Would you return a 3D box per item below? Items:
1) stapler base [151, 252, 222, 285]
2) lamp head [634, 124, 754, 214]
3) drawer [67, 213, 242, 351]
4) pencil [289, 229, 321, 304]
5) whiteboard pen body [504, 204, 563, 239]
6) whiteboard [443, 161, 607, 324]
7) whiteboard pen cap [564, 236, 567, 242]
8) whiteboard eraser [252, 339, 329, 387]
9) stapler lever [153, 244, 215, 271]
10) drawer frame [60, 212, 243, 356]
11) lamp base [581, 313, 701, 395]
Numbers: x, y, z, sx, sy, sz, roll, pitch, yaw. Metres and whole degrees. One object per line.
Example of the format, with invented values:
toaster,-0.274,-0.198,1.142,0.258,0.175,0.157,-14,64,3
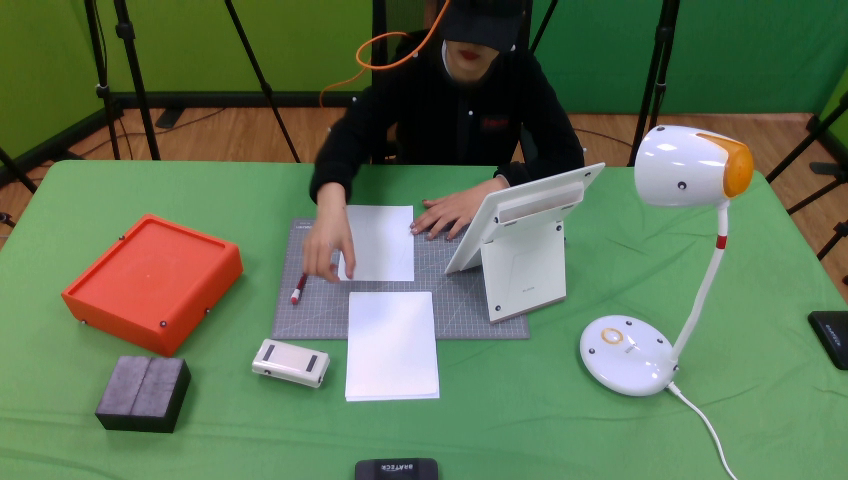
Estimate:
stapler base,-0.432,0.047,1.103,0.130,0.024,0.041,16,33,12
lamp head,0.351,-0.089,0.776,0.112,0.113,0.122,-30,30,-28
drawer,-0.461,0.068,1.057,0.194,0.073,0.211,19,48,13
pencil,-0.221,0.045,1.141,0.012,0.012,0.193,8,45,4
whiteboard pen body,0.227,-0.036,1.250,0.140,0.017,0.017,32,52,24
whiteboard,0.185,0.026,1.028,0.217,0.306,0.143,-15,68,-18
whiteboard pen cap,0.271,-0.008,1.225,0.033,0.018,0.018,34,53,23
whiteboard eraser,-0.215,0.199,0.976,0.112,0.042,0.055,12,45,7
stapler lever,-0.430,0.025,1.088,0.118,0.040,0.027,15,33,12
drawer frame,-0.462,0.070,1.053,0.201,0.083,0.213,18,48,12
lamp base,0.361,0.144,0.973,0.178,0.181,0.160,34,53,23
